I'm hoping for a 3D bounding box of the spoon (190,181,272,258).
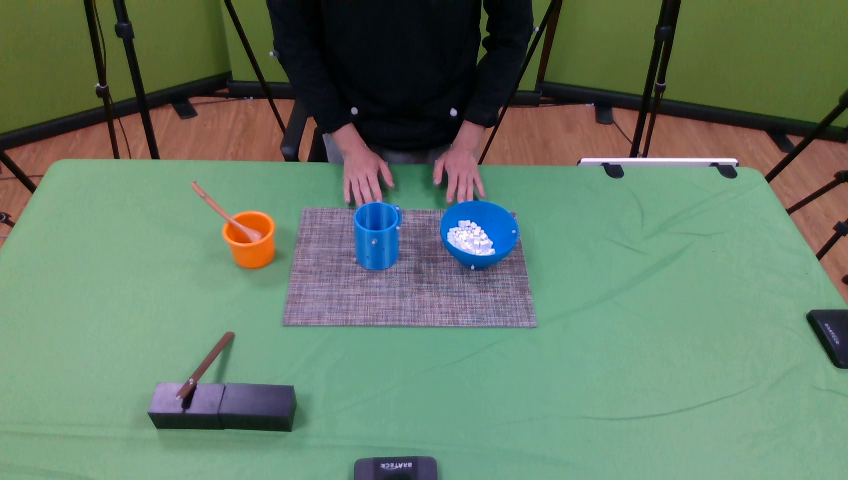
[{"bbox_3d":[-0.353,-0.037,1.111,0.194,0.021,0.041,42,39,-20],"label":"spoon"}]

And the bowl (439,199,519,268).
[{"bbox_3d":[0.100,0.000,1.160,0.151,0.077,0.150,2,46,-2],"label":"bowl"}]

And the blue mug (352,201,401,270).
[{"bbox_3d":[-0.082,-0.017,1.144,0.082,0.106,0.116,30,51,22],"label":"blue mug"}]

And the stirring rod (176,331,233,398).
[{"bbox_3d":[-0.342,0.192,0.955,0.014,0.006,0.175,3,24,7],"label":"stirring rod"}]
